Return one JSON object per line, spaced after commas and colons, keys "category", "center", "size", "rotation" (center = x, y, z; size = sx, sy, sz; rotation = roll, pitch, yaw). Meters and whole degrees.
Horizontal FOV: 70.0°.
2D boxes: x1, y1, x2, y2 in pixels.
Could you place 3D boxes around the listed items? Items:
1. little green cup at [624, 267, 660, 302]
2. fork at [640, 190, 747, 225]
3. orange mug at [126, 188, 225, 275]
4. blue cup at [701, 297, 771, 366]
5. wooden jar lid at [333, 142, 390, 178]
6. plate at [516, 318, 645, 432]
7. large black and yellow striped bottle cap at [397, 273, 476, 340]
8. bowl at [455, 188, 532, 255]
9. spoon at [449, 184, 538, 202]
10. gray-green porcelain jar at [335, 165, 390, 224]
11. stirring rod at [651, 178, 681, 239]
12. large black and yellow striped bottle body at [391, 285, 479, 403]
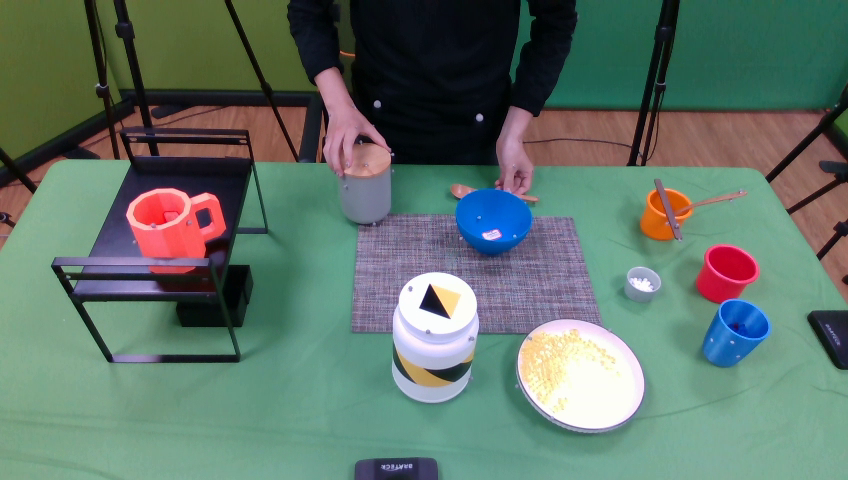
{"category": "little green cup", "center": [0.406, 0.084, 1.135], "size": [0.061, 0.039, 0.061], "rotation": [3, 45, -3]}
{"category": "fork", "center": [0.533, -0.065, 1.211], "size": [0.207, 0.019, 0.028], "rotation": [-22, 27, 38]}
{"category": "orange mug", "center": [-0.357, -0.020, 0.884], "size": [0.126, 0.101, 0.083], "rotation": [-29, 54, -23]}
{"category": "blue cup", "center": [0.519, 0.162, 1.025], "size": [0.093, 0.101, 0.092], "rotation": [3, 45, -3]}
{"category": "wooden jar lid", "center": [-0.120, -0.151, 1.170], "size": [0.108, 0.021, 0.107], "rotation": [1, 44, -1]}
{"category": "plate", "center": [0.253, 0.221, 0.992], "size": [0.209, 0.038, 0.208], "rotation": [2, 46, -2]}
{"category": "large black and yellow striped bottle cap", "center": [0.018, 0.094, 0.878], "size": [0.115, 0.019, 0.114], "rotation": [3, 46, -3]}
{"category": "bowl", "center": [0.131, -0.025, 1.187], "size": [0.151, 0.077, 0.150], "rotation": [2, 46, -2]}
{"category": "spoon", "center": [0.149, -0.098, 1.299], "size": [0.194, 0.022, 0.041], "rotation": [5, 46, 5]}
{"category": "gray-green porcelain jar", "center": [-0.121, -0.104, 1.212], "size": [0.106, 0.127, 0.105], "rotation": [1, 42, -1]}
{"category": "stirring rod", "center": [0.479, -0.065, 1.204], "size": [0.014, 0.006, 0.175], "rotation": [3, 46, -4]}
{"category": "large black and yellow striped bottle body", "center": [0.015, 0.153, 0.938], "size": [0.131, 0.185, 0.130], "rotation": [2, 46, -2]}
